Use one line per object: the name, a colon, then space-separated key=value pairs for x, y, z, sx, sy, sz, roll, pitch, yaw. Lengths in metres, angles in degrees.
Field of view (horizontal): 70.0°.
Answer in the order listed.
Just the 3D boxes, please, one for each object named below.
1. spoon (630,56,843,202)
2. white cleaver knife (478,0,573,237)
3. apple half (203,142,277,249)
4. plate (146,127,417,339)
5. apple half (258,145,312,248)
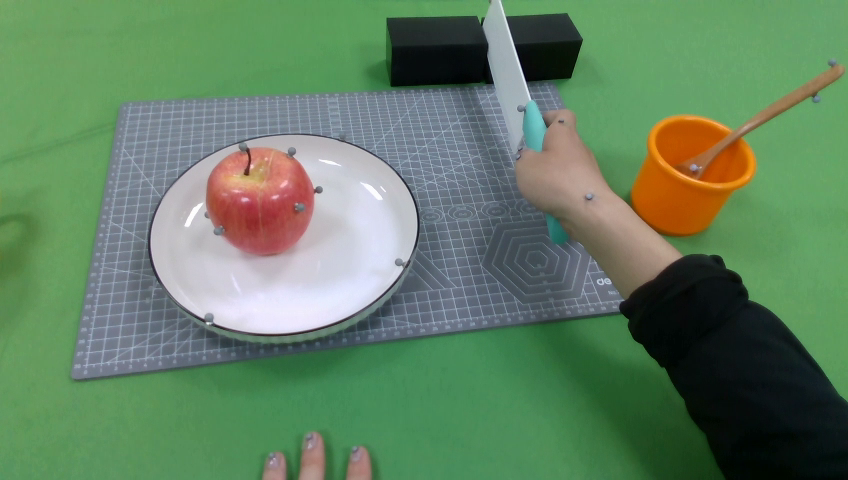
spoon: x=0.268 y=-0.094 z=0.528 sx=0.022 sy=0.194 sz=0.041 roll=27 pitch=34 yaw=-43
white cleaver knife: x=0.089 y=-0.126 z=0.569 sx=0.021 sy=0.066 sz=0.283 roll=-4 pitch=61 yaw=-11
apple half: x=-0.142 y=-0.034 z=0.474 sx=0.053 sy=0.075 sz=0.080 roll=2 pitch=55 yaw=2
plate: x=-0.110 y=-0.008 z=0.490 sx=0.209 sy=0.038 sz=0.207 roll=3 pitch=53 yaw=-4
apple half: x=-0.104 y=-0.032 z=0.475 sx=0.033 sy=0.082 sz=0.080 roll=1 pitch=52 yaw=2
